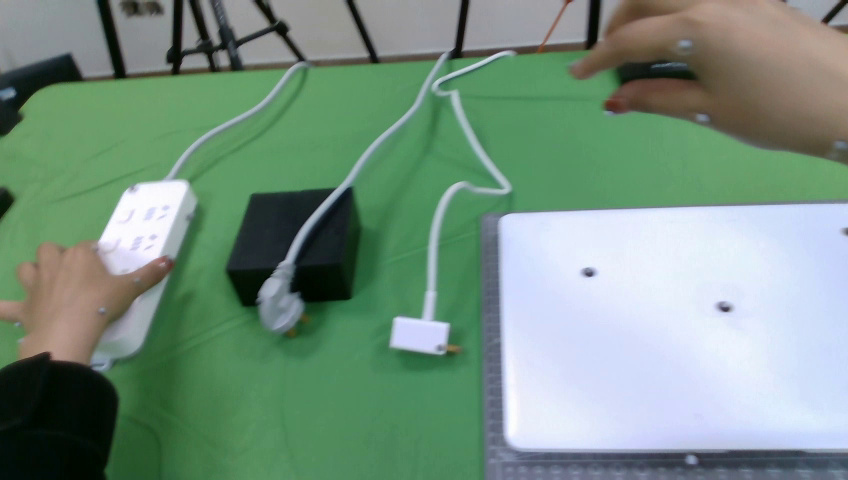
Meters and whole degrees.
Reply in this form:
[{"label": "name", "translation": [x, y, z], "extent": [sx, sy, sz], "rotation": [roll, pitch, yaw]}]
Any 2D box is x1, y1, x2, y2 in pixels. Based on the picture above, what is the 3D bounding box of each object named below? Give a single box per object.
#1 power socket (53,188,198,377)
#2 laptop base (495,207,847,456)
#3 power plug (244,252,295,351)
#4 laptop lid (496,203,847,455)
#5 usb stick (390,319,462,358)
[{"label": "power socket", "translation": [-0.280, 0.027, 0.586], "extent": [0.072, 0.033, 0.224], "rotation": [-3, 45, 3]}, {"label": "laptop base", "translation": [0.238, 0.064, 0.492], "extent": [0.354, 0.023, 0.233], "rotation": [-2, 48, 5]}, {"label": "power plug", "translation": [-0.136, 0.053, 0.498], "extent": [0.035, 0.073, 0.052], "rotation": [-11, 33, 45]}, {"label": "laptop lid", "translation": [0.237, 0.058, 0.482], "extent": [0.356, 0.013, 0.239], "rotation": [-1, 47, 7]}, {"label": "usb stick", "translation": [0.003, 0.081, 0.494], "extent": [0.059, 0.021, 0.027], "rotation": [11, 83, 1]}]
